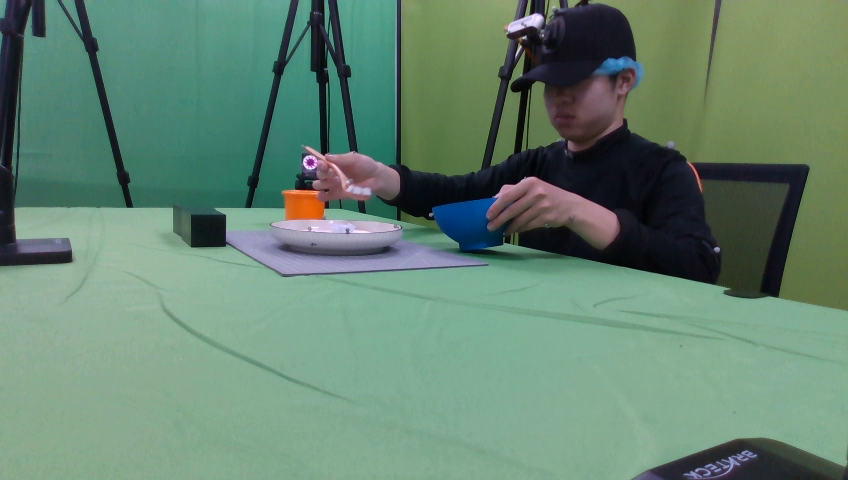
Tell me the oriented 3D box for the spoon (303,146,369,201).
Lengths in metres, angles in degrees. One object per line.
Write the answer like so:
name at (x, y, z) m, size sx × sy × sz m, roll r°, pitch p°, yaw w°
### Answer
spoon at (-0.151, -0.114, 1.007) m, size 0.042 × 0.021 × 0.193 m, roll 2°, pitch 34°, yaw -44°

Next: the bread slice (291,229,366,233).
bread slice at (-0.143, -0.003, 0.953) m, size 0.135 × 0.018 × 0.106 m, roll -1°, pitch 8°, yaw -37°

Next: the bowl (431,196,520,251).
bowl at (0.089, -0.025, 1.003) m, size 0.151 × 0.077 × 0.151 m, roll -7°, pitch 0°, yaw 0°

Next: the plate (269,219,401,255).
plate at (-0.140, -0.006, 0.958) m, size 0.209 × 0.038 × 0.209 m, roll 3°, pitch 7°, yaw 0°
